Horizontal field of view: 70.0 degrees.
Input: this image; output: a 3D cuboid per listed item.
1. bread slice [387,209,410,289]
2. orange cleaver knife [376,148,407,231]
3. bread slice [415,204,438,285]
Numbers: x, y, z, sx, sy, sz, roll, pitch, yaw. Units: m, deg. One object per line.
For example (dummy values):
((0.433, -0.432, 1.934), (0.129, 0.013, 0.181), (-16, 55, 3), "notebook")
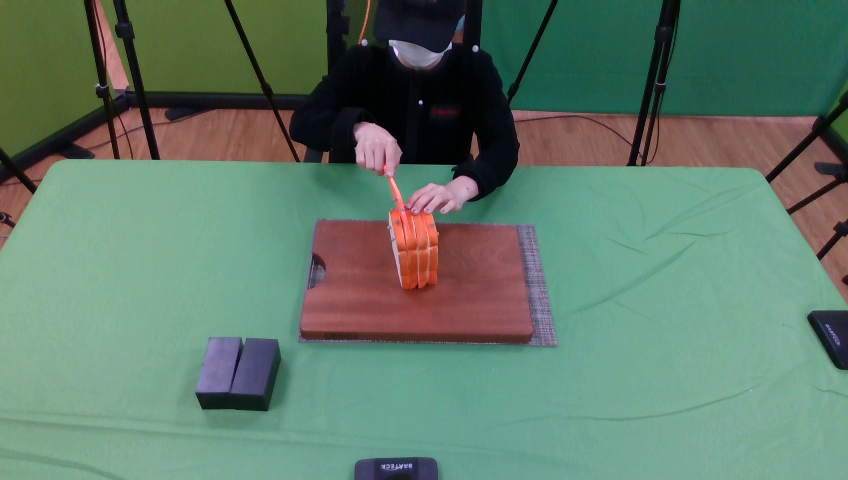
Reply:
((-0.046, 0.009, 1.072), (0.019, 0.132, 0.104), (-12, 48, -5), "bread slice")
((-0.056, -0.092, 1.051), (0.012, 0.077, 0.210), (-15, 36, -6), "orange cleaver knife")
((0.004, 0.004, 1.079), (0.018, 0.135, 0.106), (-10, 53, -11), "bread slice")
